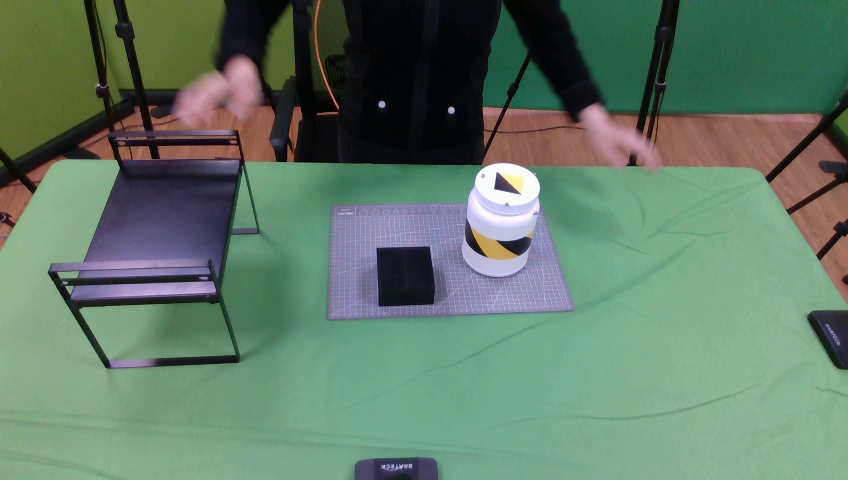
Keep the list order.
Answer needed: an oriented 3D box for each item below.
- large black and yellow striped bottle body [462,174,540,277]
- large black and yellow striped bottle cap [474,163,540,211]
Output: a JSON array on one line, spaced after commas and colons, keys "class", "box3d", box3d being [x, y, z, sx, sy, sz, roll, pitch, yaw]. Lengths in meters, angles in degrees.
[{"class": "large black and yellow striped bottle body", "box3d": [0.143, -0.035, 1.124, 0.131, 0.185, 0.130, 2, 46, -2]}, {"class": "large black and yellow striped bottle cap", "box3d": [0.146, -0.095, 1.064, 0.115, 0.019, 0.114, 3, 46, -3]}]
